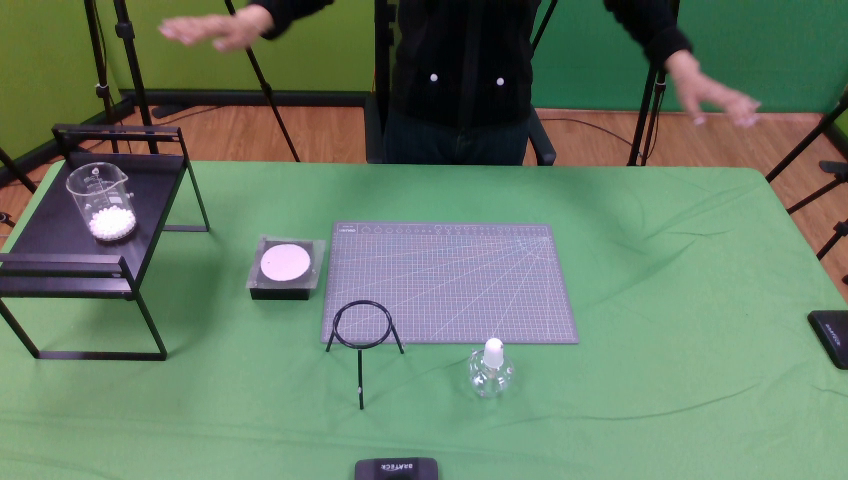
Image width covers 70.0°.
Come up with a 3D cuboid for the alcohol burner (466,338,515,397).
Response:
[{"bbox_3d":[0.106,0.194,0.952,0.078,0.120,0.077,1,45,0],"label":"alcohol burner"}]

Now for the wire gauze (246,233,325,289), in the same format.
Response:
[{"bbox_3d":[-0.245,0.037,1.082,0.121,0.011,0.124,5,47,-3],"label":"wire gauze"}]

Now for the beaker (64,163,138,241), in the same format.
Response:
[{"bbox_3d":[-0.478,-0.055,0.910,0.084,0.101,0.073,-9,48,-13],"label":"beaker"}]

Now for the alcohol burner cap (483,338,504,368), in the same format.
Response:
[{"bbox_3d":[0.108,0.170,0.928,0.034,0.048,0.033,-1,41,1],"label":"alcohol burner cap"}]

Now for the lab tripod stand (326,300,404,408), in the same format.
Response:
[{"bbox_3d":[-0.099,0.167,0.950,0.148,0.132,0.147,1,47,-1],"label":"lab tripod stand"}]
